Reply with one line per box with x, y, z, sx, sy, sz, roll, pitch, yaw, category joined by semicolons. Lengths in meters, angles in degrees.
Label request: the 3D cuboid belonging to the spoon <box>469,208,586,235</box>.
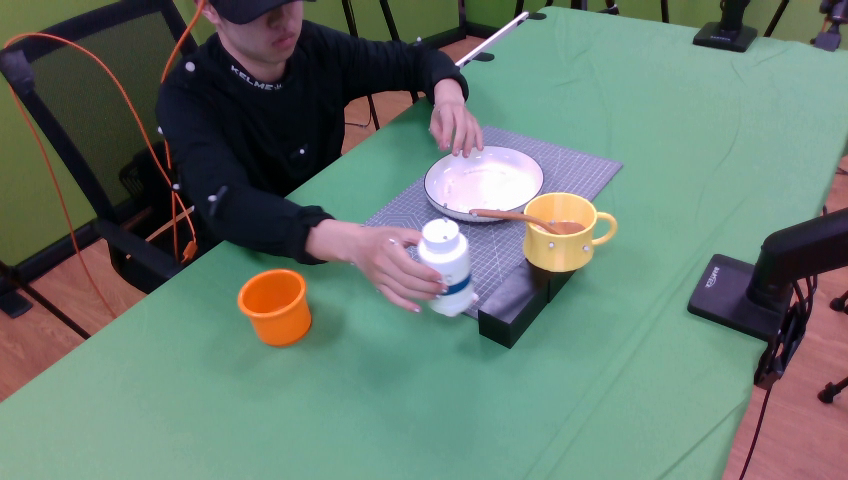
0.143;-0.026;0.817;0.195;0.021;0.041;12;35;-29;spoon

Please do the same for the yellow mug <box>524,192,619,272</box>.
0.206;-0.013;0.844;0.131;0.064;0.099;-4;40;2;yellow mug

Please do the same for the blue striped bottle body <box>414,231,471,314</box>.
0.023;0.032;0.758;0.063;0.121;0.063;-6;42;5;blue striped bottle body

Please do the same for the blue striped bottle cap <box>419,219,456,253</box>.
0.016;-0.006;0.723;0.044;0.021;0.044;-3;40;3;blue striped bottle cap

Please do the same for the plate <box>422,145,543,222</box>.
0.101;-0.094;1.048;0.207;0.039;0.206;-4;41;4;plate
